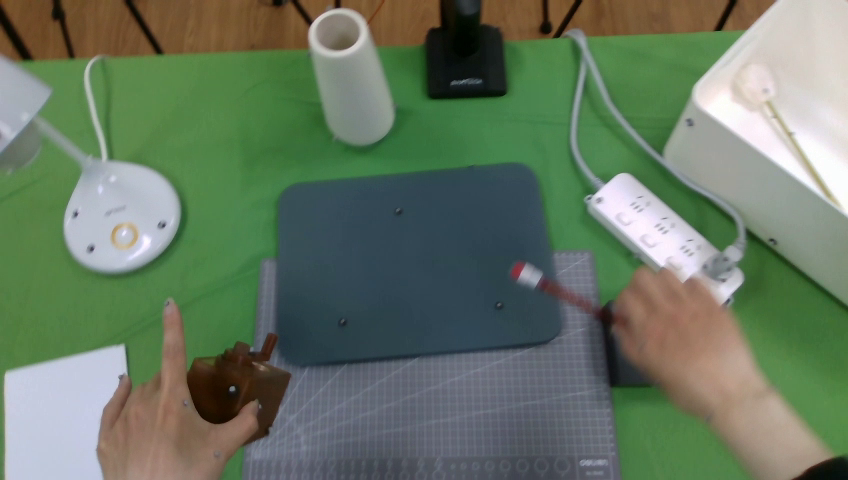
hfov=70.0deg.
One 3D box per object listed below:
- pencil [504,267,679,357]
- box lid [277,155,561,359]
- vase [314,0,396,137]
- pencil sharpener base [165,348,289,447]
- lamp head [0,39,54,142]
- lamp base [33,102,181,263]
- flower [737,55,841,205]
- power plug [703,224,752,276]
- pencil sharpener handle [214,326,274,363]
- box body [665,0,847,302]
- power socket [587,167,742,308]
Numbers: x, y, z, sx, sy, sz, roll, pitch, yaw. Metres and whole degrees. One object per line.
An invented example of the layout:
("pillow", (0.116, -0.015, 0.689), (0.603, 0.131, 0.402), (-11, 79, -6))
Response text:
("pencil", (0.166, 0.072, 0.596), (0.194, 0.012, 0.012), (26, 73, -2))
("box lid", (-0.012, 0.016, 0.811), (0.371, 0.015, 0.261), (-5, 70, 0))
("vase", (-0.090, -0.220, 0.799), (0.098, 0.201, 0.097), (0, 69, 1))
("pencil sharpener base", (-0.185, 0.145, 0.585), (0.061, 0.107, 0.076), (19, 85, 10))
("lamp head", (-0.393, -0.136, 0.495), (0.112, 0.124, 0.111), (-29, 36, 24))
("lamp base", (-0.426, -0.080, 0.768), (0.160, 0.181, 0.178), (-31, 70, -9))
("flower", (0.537, -0.097, 0.829), (0.044, 0.038, 0.359), (-26, 76, 10))
("power plug", (0.386, 0.019, 0.764), (0.072, 0.053, 0.035), (-28, 69, -13))
("pencil sharpener handle", (-0.167, 0.096, 0.576), (0.036, 0.068, 0.030), (18, 85, 18))
("box body", (0.527, -0.112, 0.761), (0.254, 0.161, 0.362), (-43, 75, -12))
("power socket", (0.316, -0.006, 0.799), (0.072, 0.033, 0.225), (-39, 74, -12))
